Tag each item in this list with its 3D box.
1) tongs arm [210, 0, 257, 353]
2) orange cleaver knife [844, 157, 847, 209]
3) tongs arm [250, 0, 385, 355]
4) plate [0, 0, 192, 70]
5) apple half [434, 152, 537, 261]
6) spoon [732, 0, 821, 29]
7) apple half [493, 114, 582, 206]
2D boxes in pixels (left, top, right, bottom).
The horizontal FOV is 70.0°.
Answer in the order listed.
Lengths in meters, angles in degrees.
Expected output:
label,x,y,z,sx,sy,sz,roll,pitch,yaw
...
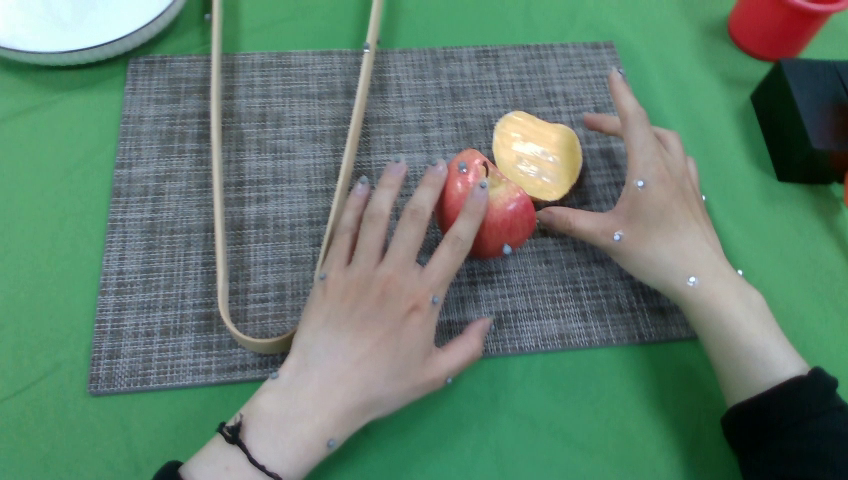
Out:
label,x,y,z,sx,sy,sz,roll,pitch,yaw
tongs arm,-0.161,-0.093,0.497,0.028,0.028,0.384,-5,62,-12
orange cleaver knife,0.370,-0.046,0.489,0.012,0.077,0.211,1,94,-4
tongs arm,-0.076,-0.091,0.502,0.051,0.027,0.381,7,62,-2
plate,-0.313,-0.230,0.555,0.209,0.038,0.207,2,61,-4
apple half,0.037,-0.016,0.449,0.053,0.075,0.080,-40,74,-18
spoon,0.391,-0.232,0.559,0.022,0.193,0.041,49,53,-30
apple half,0.088,-0.061,0.500,0.081,0.033,0.081,4,74,-12
